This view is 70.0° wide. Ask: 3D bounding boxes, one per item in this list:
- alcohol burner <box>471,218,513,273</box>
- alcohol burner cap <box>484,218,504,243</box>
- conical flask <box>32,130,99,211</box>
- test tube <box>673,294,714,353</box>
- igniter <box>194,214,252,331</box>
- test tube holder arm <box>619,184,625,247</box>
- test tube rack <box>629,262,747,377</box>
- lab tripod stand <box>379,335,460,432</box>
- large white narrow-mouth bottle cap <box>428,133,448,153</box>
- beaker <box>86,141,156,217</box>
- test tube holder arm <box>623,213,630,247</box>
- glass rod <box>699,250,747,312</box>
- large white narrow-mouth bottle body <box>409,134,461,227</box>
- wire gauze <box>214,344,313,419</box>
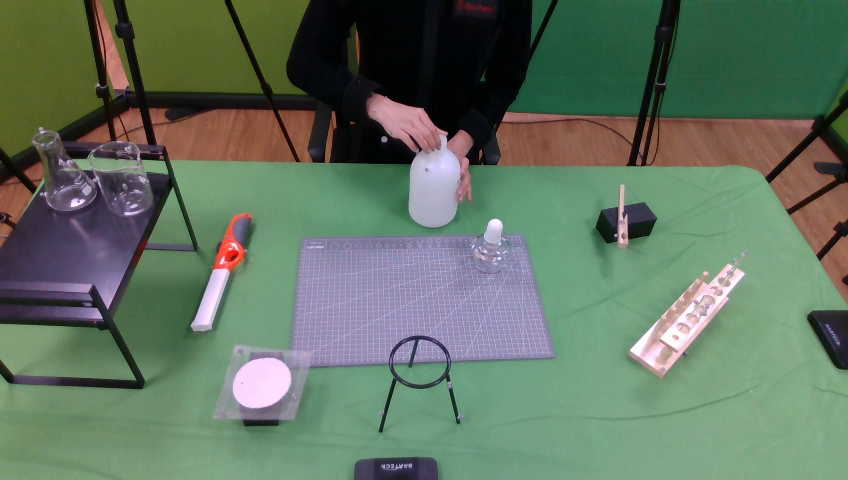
[{"bbox_3d":[0.128,0.005,1.132,0.078,0.120,0.077,0,47,0],"label":"alcohol burner"},{"bbox_3d":[0.130,-0.021,1.106,0.034,0.048,0.033,3,51,-3],"label":"alcohol burner cap"},{"bbox_3d":[-0.565,-0.110,0.944,0.075,0.122,0.075,2,46,-2],"label":"conical flask"},{"bbox_3d":[0.428,0.137,0.978,0.017,0.151,0.017,4,47,-4],"label":"test tube"},{"bbox_3d":[-0.367,0.050,1.119,0.057,0.025,0.275,-4,46,7],"label":"igniter"},{"bbox_3d":[0.396,-0.053,1.210,0.013,0.015,0.177,14,46,2],"label":"test tube holder arm"},{"bbox_3d":[0.464,0.126,1.060,0.242,0.085,0.066,-34,56,-30],"label":"test tube rack"},{"bbox_3d":[-0.011,0.214,0.911,0.148,0.132,0.147,1,45,0],"label":"lab tripod stand"},{"bbox_3d":[0.026,-0.182,1.134,0.038,0.024,0.037,2,46,-2],"label":"large white narrow-mouth bottle cap"},{"bbox_3d":[-0.467,-0.092,0.950,0.084,0.101,0.073,15,47,11],"label":"beaker"},{"bbox_3d":[0.393,-0.020,1.179,0.010,0.015,0.087,13,46,1],"label":"test tube holder arm"},{"bbox_3d":[0.500,0.075,1.021,0.008,0.201,0.008,0,55,1],"label":"glass rod"},{"bbox_3d":[0.023,-0.124,1.197,0.102,0.195,0.101,2,46,-2],"label":"large white narrow-mouth bottle body"},{"bbox_3d":[-0.241,0.213,0.915,0.121,0.011,0.124,5,46,1],"label":"wire gauze"}]
